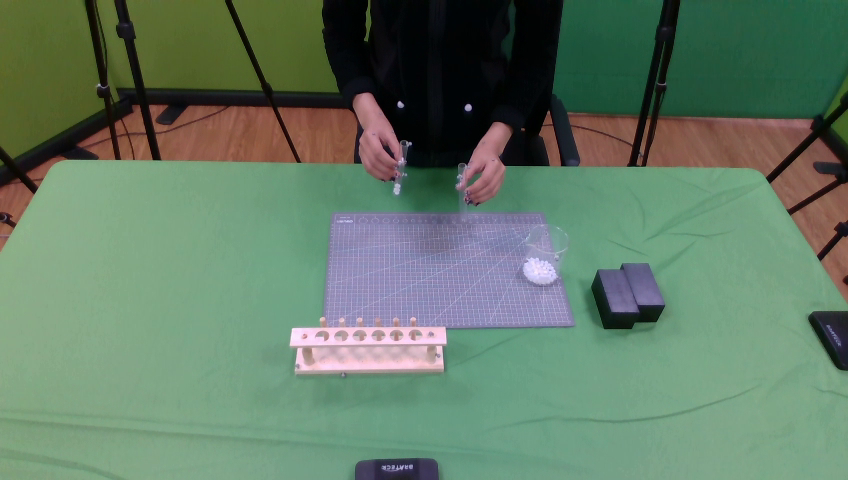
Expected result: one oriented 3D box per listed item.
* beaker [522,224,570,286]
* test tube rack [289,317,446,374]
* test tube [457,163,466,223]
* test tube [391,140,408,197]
[{"bbox_3d":[0.221,0.032,1.129,0.084,0.101,0.073,-6,46,-9],"label":"beaker"},{"bbox_3d":[-0.089,0.167,0.987,0.242,0.085,0.066,0,46,-4],"label":"test tube rack"},{"bbox_3d":[0.073,-0.087,1.161,0.017,0.151,0.017,-2,48,2],"label":"test tube"},{"bbox_3d":[-0.047,-0.131,1.135,0.017,0.151,0.017,5,55,-7],"label":"test tube"}]
